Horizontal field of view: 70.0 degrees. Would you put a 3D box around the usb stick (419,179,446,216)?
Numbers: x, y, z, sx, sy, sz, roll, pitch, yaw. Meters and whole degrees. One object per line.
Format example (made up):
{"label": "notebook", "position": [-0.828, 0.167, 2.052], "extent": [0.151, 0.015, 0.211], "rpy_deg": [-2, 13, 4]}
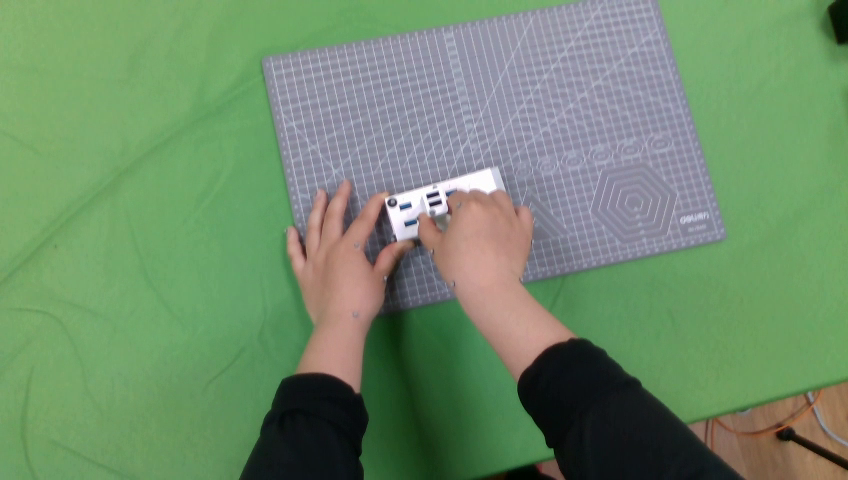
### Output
{"label": "usb stick", "position": [0.009, -0.040, 0.600], "extent": [0.021, 0.059, 0.027], "rpy_deg": [-20, 81, 0]}

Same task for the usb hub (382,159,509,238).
{"label": "usb hub", "position": [0.022, -0.044, 0.631], "extent": [0.125, 0.025, 0.049], "rpy_deg": [-17, 83, -6]}
